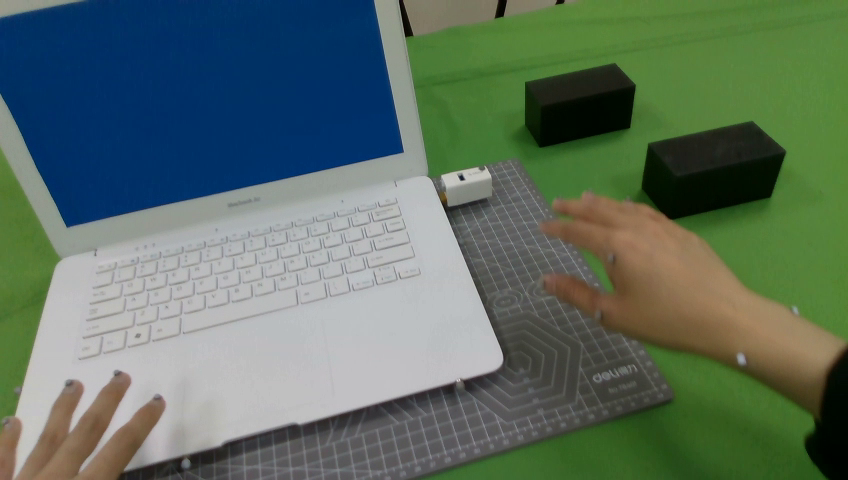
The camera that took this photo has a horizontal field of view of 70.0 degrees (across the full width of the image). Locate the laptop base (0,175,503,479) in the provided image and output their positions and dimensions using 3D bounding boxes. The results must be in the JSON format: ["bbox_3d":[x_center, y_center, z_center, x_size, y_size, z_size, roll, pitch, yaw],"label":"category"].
[{"bbox_3d":[-0.137,0.058,0.496,0.355,0.023,0.233,-14,47,-6],"label":"laptop base"}]

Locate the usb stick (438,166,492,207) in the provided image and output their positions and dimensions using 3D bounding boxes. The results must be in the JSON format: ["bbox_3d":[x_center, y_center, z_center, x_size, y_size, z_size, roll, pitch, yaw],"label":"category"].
[{"bbox_3d":[0.033,-0.049,0.567,0.059,0.027,0.021,-15,44,-5],"label":"usb stick"}]

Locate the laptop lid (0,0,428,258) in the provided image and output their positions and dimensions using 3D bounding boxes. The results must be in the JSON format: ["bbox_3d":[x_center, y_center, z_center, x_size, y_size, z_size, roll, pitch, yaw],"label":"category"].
[{"bbox_3d":[-0.183,-0.120,0.523,0.357,0.244,0.013,-15,29,-6],"label":"laptop lid"}]
